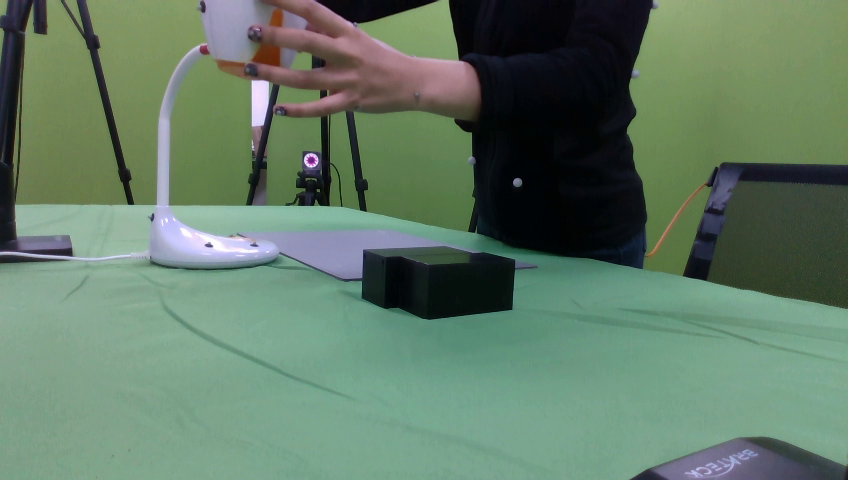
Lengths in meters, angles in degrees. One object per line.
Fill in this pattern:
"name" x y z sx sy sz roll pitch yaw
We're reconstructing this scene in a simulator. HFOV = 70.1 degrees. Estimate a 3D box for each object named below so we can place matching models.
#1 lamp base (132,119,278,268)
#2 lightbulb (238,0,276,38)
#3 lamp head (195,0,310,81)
"lamp base" -0.279 -0.061 0.770 0.160 0.180 0.180 9 13 44
"lightbulb" -0.154 -0.244 0.567 0.059 0.107 0.059 11 4 0
"lamp head" -0.166 -0.214 0.572 0.112 0.123 0.112 9 8 -1
